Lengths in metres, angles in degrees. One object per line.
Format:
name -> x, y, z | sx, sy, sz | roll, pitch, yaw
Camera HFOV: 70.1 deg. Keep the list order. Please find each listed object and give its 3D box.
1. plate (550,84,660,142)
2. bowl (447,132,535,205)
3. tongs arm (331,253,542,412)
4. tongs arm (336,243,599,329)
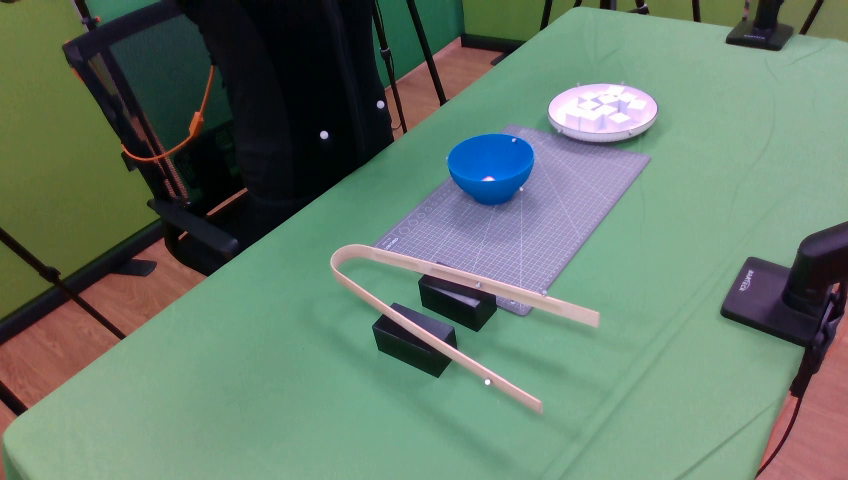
plate -> 0.355, -0.246, 1.195 | 0.207, 0.039, 0.206 | -5, 39, 5
bowl -> 0.119, -0.115, 1.051 | 0.151, 0.077, 0.150 | -6, 40, 5
tongs arm -> -0.005, 0.107, 0.777 | 0.384, 0.028, 0.028 | 29, 57, 37
tongs arm -> 0.043, 0.063, 0.823 | 0.382, 0.026, 0.051 | 17, 47, 28
